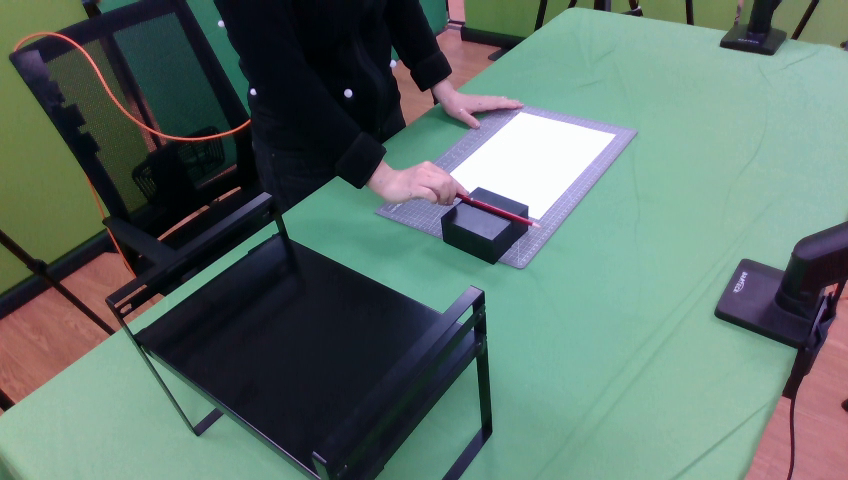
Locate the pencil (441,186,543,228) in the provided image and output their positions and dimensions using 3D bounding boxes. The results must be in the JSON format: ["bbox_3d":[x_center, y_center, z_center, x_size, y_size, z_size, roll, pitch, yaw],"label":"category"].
[{"bbox_3d":[0.104,-0.051,0.947,0.192,0.012,0.012,24,50,33],"label":"pencil"}]
